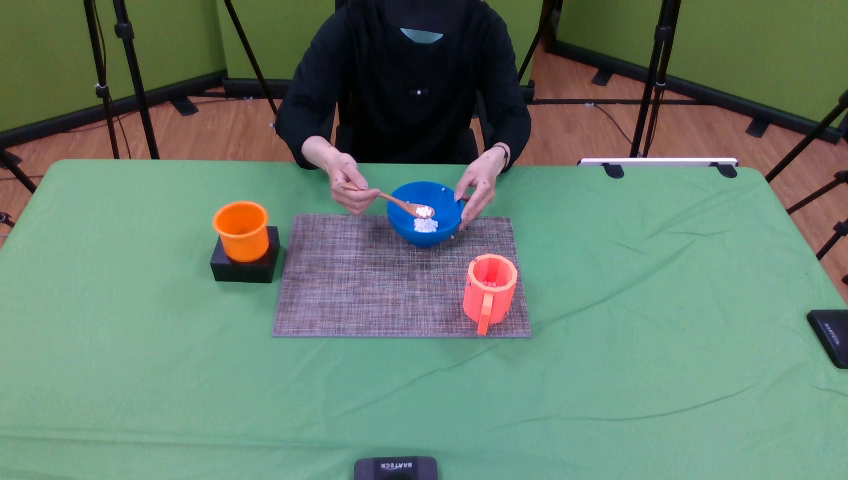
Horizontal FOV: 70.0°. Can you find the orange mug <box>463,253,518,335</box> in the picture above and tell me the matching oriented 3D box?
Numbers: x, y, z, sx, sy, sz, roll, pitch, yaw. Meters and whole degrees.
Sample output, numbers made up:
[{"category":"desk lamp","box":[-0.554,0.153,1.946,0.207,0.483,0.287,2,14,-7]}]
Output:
[{"category":"orange mug","box":[0.113,0.098,1.050,0.083,0.101,0.125,10,42,6]}]

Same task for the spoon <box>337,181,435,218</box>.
[{"category":"spoon","box":[-0.067,-0.077,1.108,0.194,0.022,0.041,20,37,-24]}]

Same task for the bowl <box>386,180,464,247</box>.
[{"category":"bowl","box":[0.001,-0.040,1.190,0.151,0.077,0.150,2,46,-2]}]
